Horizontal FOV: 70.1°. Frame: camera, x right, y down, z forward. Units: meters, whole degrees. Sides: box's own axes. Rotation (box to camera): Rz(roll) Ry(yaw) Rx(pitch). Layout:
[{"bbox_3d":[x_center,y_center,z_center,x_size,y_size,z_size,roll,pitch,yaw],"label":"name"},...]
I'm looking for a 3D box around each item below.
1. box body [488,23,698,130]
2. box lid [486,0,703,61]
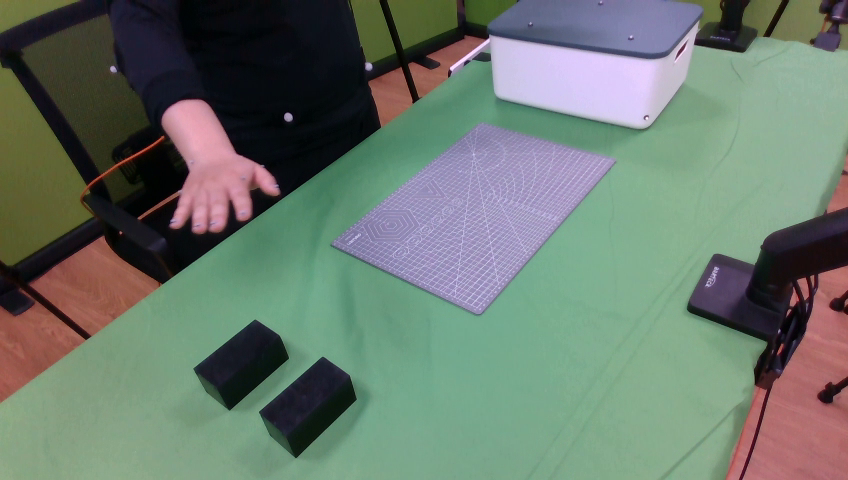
[{"bbox_3d":[0.345,-0.379,1.257,0.361,0.161,0.255,20,48,29],"label":"box body"},{"bbox_3d":[0.338,-0.435,1.208,0.369,0.015,0.264,20,47,29],"label":"box lid"}]
